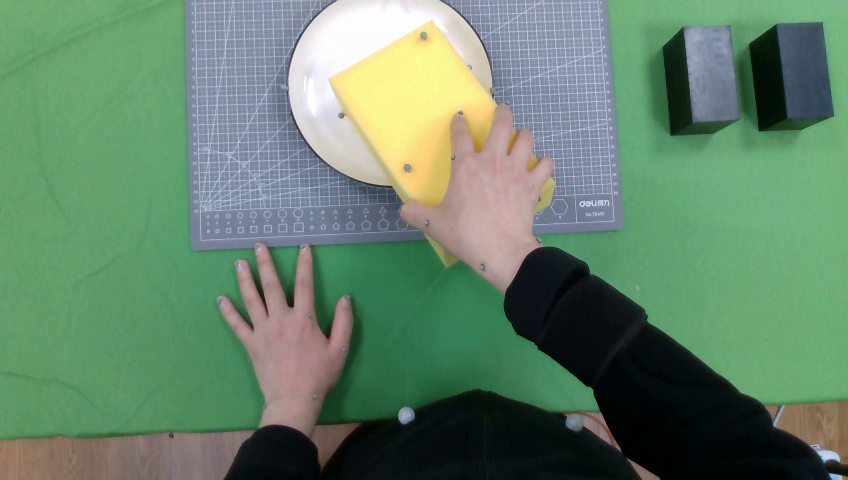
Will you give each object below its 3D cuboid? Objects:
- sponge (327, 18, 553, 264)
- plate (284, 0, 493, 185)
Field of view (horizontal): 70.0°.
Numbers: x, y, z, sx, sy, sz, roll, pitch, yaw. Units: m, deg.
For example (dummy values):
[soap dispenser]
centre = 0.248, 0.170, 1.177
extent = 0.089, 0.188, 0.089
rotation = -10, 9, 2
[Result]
[sponge]
centre = 0.013, -0.096, 0.578
extent = 0.118, 0.061, 0.205
rotation = -32, 73, -5
[plate]
centre = -0.035, -0.156, 0.623
extent = 0.209, 0.038, 0.208
rotation = 0, 85, -3
